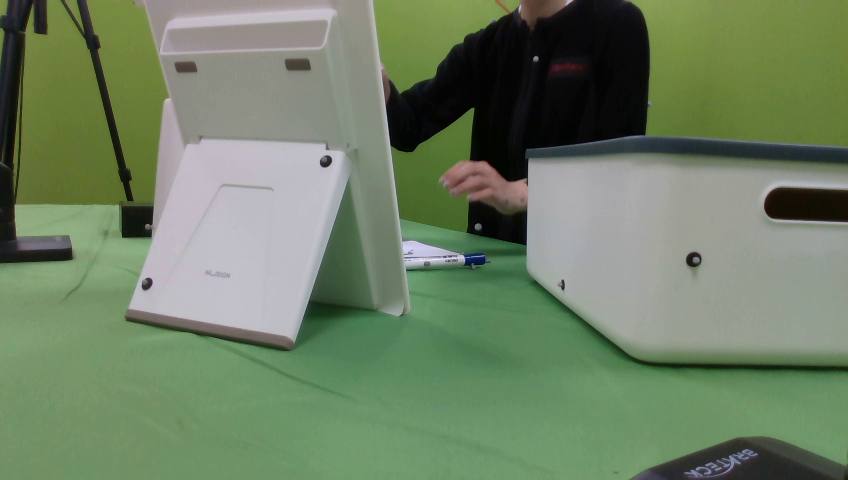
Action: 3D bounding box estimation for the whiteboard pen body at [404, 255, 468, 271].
[{"bbox_3d":[0.013,0.030,0.792,0.141,0.017,0.017,-3,9,-24],"label":"whiteboard pen body"}]

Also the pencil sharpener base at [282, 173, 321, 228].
[{"bbox_3d":[-0.247,-0.080,1.212,0.061,0.107,0.076,-2,5,-28],"label":"pencil sharpener base"}]

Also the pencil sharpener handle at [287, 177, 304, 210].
[{"bbox_3d":[-0.269,-0.096,1.257,0.036,0.067,0.030,-8,8,-27],"label":"pencil sharpener handle"}]

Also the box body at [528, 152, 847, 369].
[{"bbox_3d":[0.258,-0.005,0.591,0.254,0.160,0.363,2,7,-4],"label":"box body"}]

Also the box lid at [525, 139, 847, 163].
[{"bbox_3d":[0.261,-0.078,0.580,0.264,0.015,0.371,2,7,-4],"label":"box lid"}]

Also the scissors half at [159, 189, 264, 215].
[{"bbox_3d":[-0.370,-0.062,1.059,0.176,0.040,0.013,-11,10,-26],"label":"scissors half"}]

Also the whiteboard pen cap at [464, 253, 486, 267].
[{"bbox_3d":[0.066,0.027,0.818,0.033,0.018,0.018,-6,10,-24],"label":"whiteboard pen cap"}]

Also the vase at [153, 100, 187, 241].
[{"bbox_3d":[-0.278,-0.066,0.736,0.098,0.200,0.098,2,9,0],"label":"vase"}]

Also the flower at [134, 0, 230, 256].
[{"bbox_3d":[-0.282,-0.147,0.713,0.038,0.362,0.044,-23,24,-31],"label":"flower"}]

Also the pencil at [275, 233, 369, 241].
[{"bbox_3d":[-0.169,-0.006,1.036,0.195,0.012,0.012,-2,9,-45],"label":"pencil"}]

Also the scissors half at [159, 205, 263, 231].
[{"bbox_3d":[-0.371,-0.042,1.062,0.176,0.040,0.012,9,7,-28],"label":"scissors half"}]

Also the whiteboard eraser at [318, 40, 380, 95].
[{"bbox_3d":[-0.109,-0.239,0.854,0.056,0.042,0.112,31,-16,-23],"label":"whiteboard eraser"}]

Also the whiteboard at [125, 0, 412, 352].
[{"bbox_3d":[-0.151,-0.049,0.472,0.216,0.305,0.144,6,27,24],"label":"whiteboard"}]
